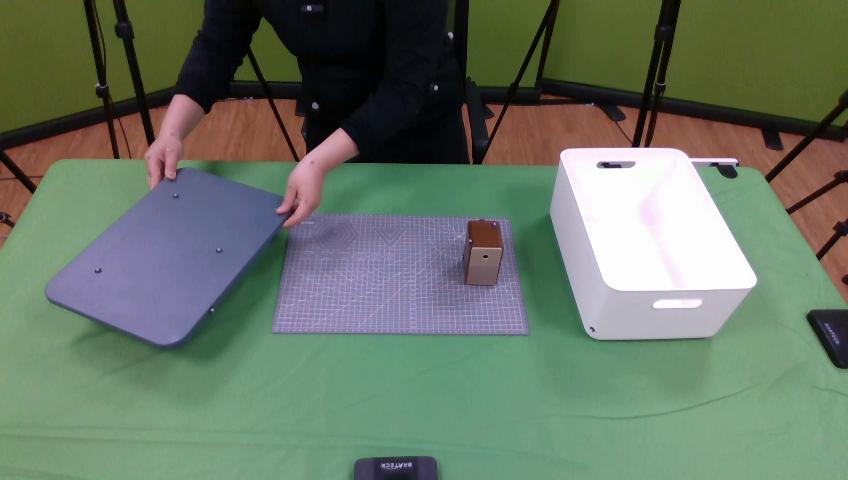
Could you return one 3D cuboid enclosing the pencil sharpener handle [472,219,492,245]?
[{"bbox_3d":[0.105,-0.021,1.146,0.036,0.068,0.030,6,45,-7],"label":"pencil sharpener handle"}]

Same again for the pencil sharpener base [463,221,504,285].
[{"bbox_3d":[0.107,0.024,1.119,0.061,0.107,0.076,1,45,-2],"label":"pencil sharpener base"}]

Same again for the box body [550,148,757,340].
[{"bbox_3d":[0.395,0.003,1.127,0.254,0.161,0.361,-1,46,-5],"label":"box body"}]

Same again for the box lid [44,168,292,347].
[{"bbox_3d":[-0.428,0.012,1.051,0.263,0.015,0.370,18,46,12],"label":"box lid"}]
